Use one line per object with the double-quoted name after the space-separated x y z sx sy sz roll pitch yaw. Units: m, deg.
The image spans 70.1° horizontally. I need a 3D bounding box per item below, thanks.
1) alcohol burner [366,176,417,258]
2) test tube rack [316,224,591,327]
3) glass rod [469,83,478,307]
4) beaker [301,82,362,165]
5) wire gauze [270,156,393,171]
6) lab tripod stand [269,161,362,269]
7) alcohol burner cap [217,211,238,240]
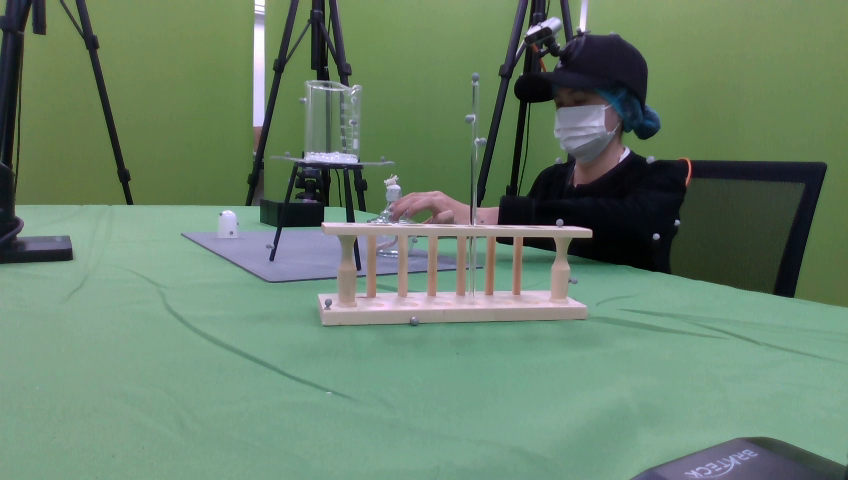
-0.047 -0.034 0.887 0.078 0.119 0.078 1 9 0 "alcohol burner"
0.026 0.028 0.555 0.243 0.085 0.066 1 7 -14 "test tube rack"
0.043 -0.033 0.523 0.008 0.199 0.008 -1 14 1 "glass rod"
-0.117 -0.147 0.776 0.074 0.100 0.083 -3 10 -38 "beaker"
-0.122 -0.100 0.786 0.122 0.011 0.124 -5 14 -38 "wire gauze"
-0.125 -0.036 0.794 0.148 0.131 0.148 5 7 0 "lab tripod stand"
-0.323 -0.024 0.994 0.034 0.048 0.034 2 8 0 "alcohol burner cap"
